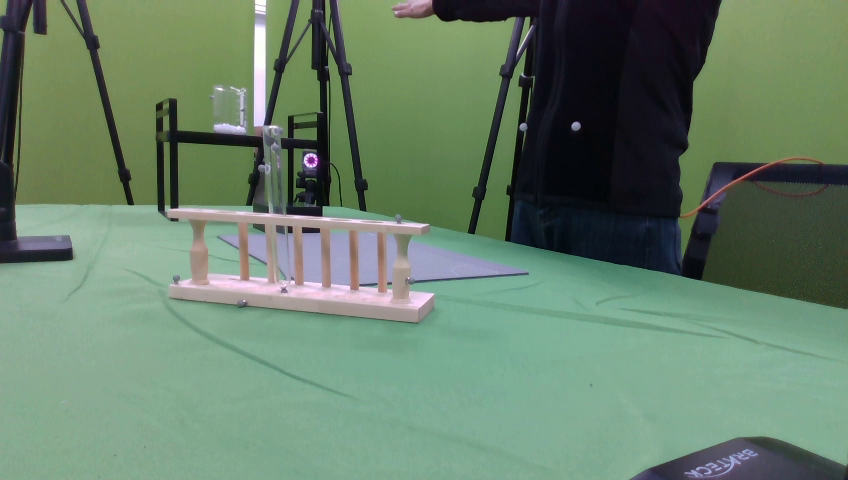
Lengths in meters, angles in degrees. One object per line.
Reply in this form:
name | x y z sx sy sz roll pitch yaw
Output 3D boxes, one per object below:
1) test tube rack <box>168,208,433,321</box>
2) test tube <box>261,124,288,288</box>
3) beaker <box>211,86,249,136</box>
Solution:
test tube rack | -0.115 0.017 0.574 0.242 0.085 0.067 4 8 13
test tube | -0.137 -0.030 0.555 0.017 0.150 0.017 -2 9 1
beaker | -0.413 -0.274 1.297 0.074 0.100 0.083 -5 11 -44
